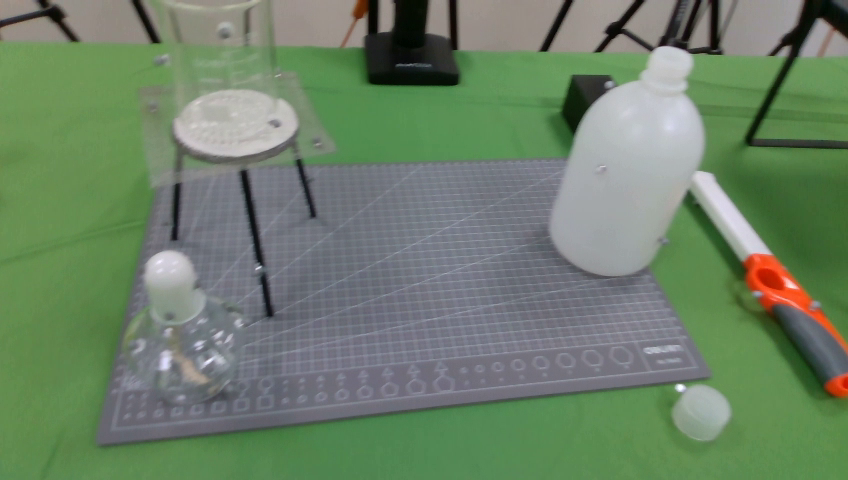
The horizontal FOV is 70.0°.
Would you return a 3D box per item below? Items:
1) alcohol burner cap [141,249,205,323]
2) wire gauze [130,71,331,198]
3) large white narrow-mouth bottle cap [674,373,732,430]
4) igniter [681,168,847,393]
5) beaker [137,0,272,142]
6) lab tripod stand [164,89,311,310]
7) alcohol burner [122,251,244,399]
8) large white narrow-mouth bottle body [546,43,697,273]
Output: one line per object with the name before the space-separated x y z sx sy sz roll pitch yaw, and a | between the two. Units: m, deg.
alcohol burner cap | -0.157 0.026 0.376 0.034 0.048 0.033 4 49 -4
wire gauze | -0.143 -0.086 0.440 0.122 0.011 0.123 -15 51 -19
large white narrow-mouth bottle cap | 0.207 0.120 0.451 0.038 0.024 0.037 3 43 -3
igniter | 0.310 0.022 0.563 0.057 0.025 0.273 6 42 -17
beaker | -0.143 -0.124 0.407 0.084 0.101 0.073 -8 47 -16
lab tripod stand | -0.144 -0.038 0.483 0.148 0.132 0.147 5 44 -5
alcohol burner | -0.161 0.052 0.401 0.078 0.120 0.077 5 42 -4
large white narrow-mouth bottle body | 0.171 -0.069 0.514 0.102 0.196 0.101 3 43 -3
